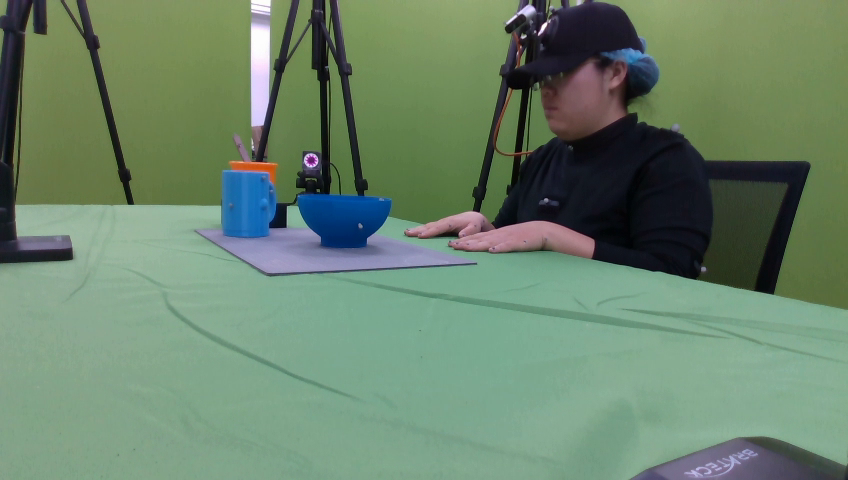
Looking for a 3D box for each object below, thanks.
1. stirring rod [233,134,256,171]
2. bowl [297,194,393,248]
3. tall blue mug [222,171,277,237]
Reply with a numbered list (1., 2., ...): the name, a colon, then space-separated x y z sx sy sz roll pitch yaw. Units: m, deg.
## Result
1. stirring rod: -0.346 -0.148 1.198 0.014 0.006 0.175 -5 53 -39
2. bowl: -0.127 -0.030 0.964 0.151 0.077 0.151 2 7 0
3. tall blue mug: -0.302 -0.064 1.043 0.078 0.108 0.107 1 7 -4
